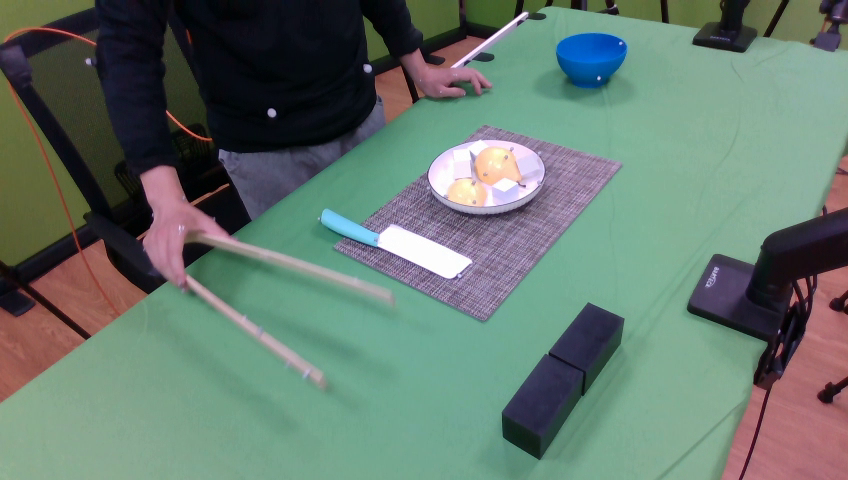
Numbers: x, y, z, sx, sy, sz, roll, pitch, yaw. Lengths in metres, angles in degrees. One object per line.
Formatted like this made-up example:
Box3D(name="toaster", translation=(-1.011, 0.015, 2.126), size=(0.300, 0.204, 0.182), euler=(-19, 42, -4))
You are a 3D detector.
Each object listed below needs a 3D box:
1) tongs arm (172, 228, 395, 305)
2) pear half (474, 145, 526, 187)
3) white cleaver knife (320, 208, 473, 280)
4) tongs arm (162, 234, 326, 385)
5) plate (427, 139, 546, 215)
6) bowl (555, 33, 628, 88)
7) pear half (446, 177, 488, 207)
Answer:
Box3D(name="tongs arm", translation=(-0.210, 0.035, 0.868), size=(0.385, 0.028, 0.028), euler=(15, 56, 24))
Box3D(name="pear half", translation=(0.140, -0.129, 1.059), size=(0.076, 0.056, 0.109), euler=(-37, 53, -25))
Box3D(name="white cleaver knife", translation=(-0.053, 0.001, 0.978), size=(0.284, 0.021, 0.066), euler=(23, 40, 26))
Box3D(name="tongs arm", translation=(-0.253, 0.084, 0.829), size=(0.382, 0.027, 0.051), euler=(25, 57, 31))
Box3D(name="plate", translation=(0.109, -0.106, 1.058), size=(0.207, 0.039, 0.206), euler=(-4, 41, 4))
Box3D(name="bowl", translation=(0.361, -0.384, 1.318), size=(0.151, 0.077, 0.150), euler=(-4, 41, 4))
Box3D(name="pear half", translation=(0.073, -0.086, 1.031), size=(0.070, 0.031, 0.087), euler=(-20, 36, -9))
